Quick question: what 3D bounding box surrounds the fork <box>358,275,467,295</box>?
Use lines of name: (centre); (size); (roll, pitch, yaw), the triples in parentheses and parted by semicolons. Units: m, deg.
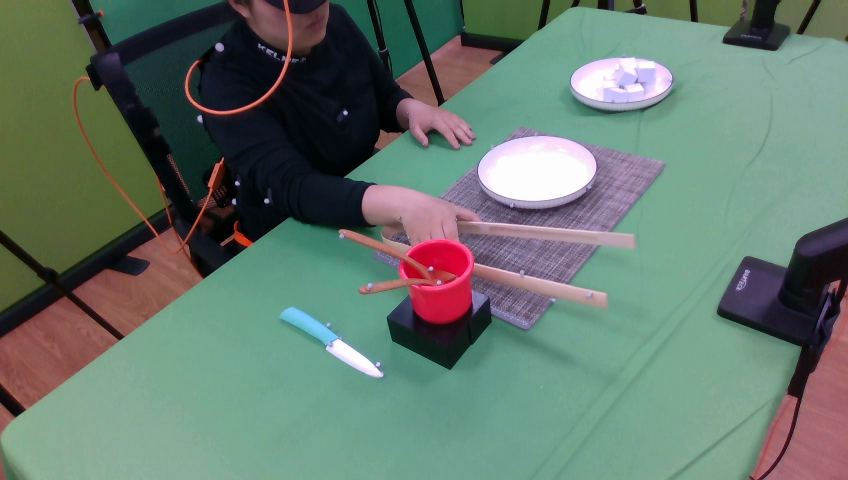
fork: (-0.009, 0.056, 0.739); (0.028, 0.018, 0.209); (48, 23, 26)

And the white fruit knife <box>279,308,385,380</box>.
white fruit knife: (-0.130, 0.143, 0.845); (0.205, 0.016, 0.027); (25, 79, 32)

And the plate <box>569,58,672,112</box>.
plate: (0.411, -0.323, 1.274); (0.209, 0.038, 0.208); (-5, 41, 5)

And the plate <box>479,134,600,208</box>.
plate: (0.202, -0.117, 1.065); (0.207, 0.039, 0.206); (-5, 40, 5)

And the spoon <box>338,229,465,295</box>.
spoon: (-0.025, 0.026, 0.776); (0.021, 0.195, 0.041); (-41, 34, 32)

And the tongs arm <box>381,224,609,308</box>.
tongs arm: (0.084, 0.031, 0.869); (0.382, 0.027, 0.051); (12, 46, 33)

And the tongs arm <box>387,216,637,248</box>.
tongs arm: (0.118, -0.011, 0.911); (0.385, 0.028, 0.028); (5, 46, 26)
